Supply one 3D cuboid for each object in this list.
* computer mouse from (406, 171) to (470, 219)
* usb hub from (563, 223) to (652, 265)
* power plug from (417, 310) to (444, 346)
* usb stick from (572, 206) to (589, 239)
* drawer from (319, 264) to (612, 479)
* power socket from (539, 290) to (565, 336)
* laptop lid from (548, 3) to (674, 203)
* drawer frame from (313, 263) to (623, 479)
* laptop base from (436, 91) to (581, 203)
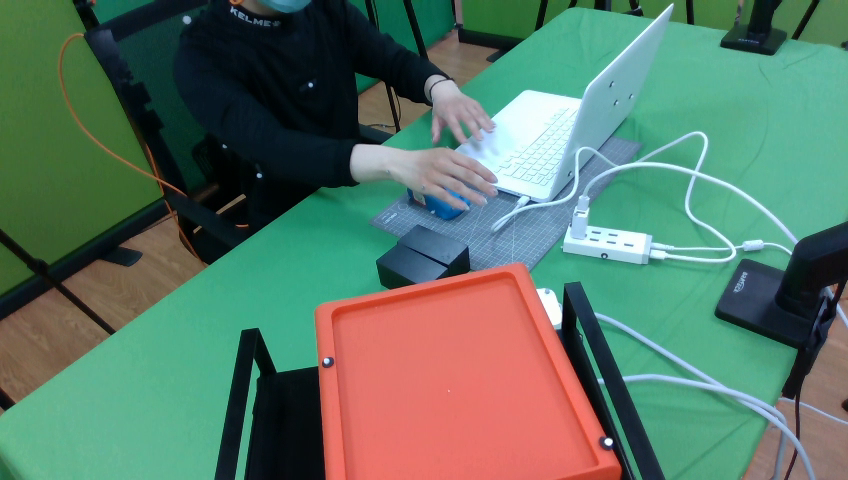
[{"bbox_3d":[0.024,-0.082,1.049,0.063,0.041,0.116,-29,50,-27],"label":"computer mouse"},{"bbox_3d":[0.281,0.005,0.925,0.124,0.025,0.049,10,43,19],"label":"usb hub"},{"bbox_3d":[0.007,0.122,0.786,0.035,0.053,0.072,0,39,7],"label":"power plug"},{"bbox_3d":[0.236,-0.020,0.916,0.021,0.059,0.027,8,40,15],"label":"usb stick"},{"bbox_3d":[0.020,0.129,0.497,0.195,0.073,0.210,-11,41,-5],"label":"drawer"},{"bbox_3d":[0.081,0.112,0.822,0.227,0.033,0.072,-6,41,0],"label":"power socket"},{"bbox_3d":[0.320,-0.235,1.026,0.013,0.242,0.357,31,50,20],"label":"laptop lid"},{"bbox_3d":[0.021,0.130,0.493,0.202,0.083,0.212,-11,41,-6],"label":"drawer frame"},{"bbox_3d":[0.215,-0.192,1.172,0.233,0.023,0.355,19,46,32],"label":"laptop base"}]
